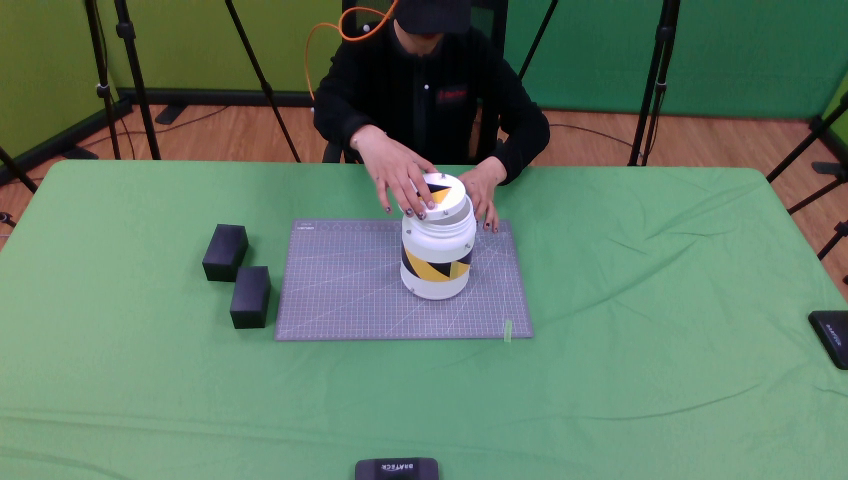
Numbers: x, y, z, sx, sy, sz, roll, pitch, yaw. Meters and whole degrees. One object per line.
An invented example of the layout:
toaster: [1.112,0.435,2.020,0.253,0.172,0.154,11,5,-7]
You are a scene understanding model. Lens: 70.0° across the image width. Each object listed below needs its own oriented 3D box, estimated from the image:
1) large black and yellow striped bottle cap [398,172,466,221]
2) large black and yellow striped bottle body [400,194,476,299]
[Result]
large black and yellow striped bottle cap: [0.013,-0.074,1.005,0.115,0.019,0.114,-3,41,3]
large black and yellow striped bottle body: [0.024,0.003,1.079,0.131,0.185,0.130,2,46,-2]
